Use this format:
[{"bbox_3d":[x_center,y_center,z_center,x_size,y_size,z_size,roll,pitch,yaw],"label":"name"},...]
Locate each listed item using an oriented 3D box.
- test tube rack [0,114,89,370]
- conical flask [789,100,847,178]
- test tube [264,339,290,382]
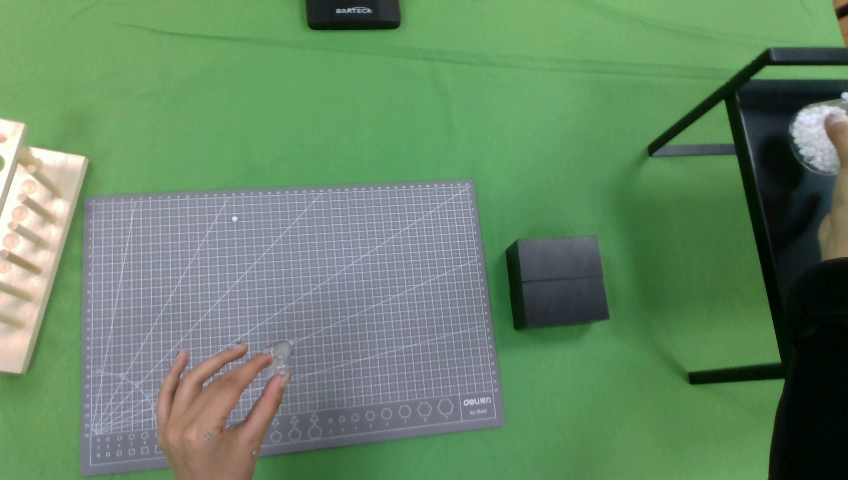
[{"bbox_3d":[-0.424,0.004,0.615,0.067,0.085,0.241,11,75,-7],"label":"test tube rack"},{"bbox_3d":[0.412,-0.109,0.561,0.075,0.122,0.075,3,78,-13],"label":"conical flask"},{"bbox_3d":[-0.130,0.108,0.529,0.017,0.150,0.017,6,69,-15],"label":"test tube"}]
